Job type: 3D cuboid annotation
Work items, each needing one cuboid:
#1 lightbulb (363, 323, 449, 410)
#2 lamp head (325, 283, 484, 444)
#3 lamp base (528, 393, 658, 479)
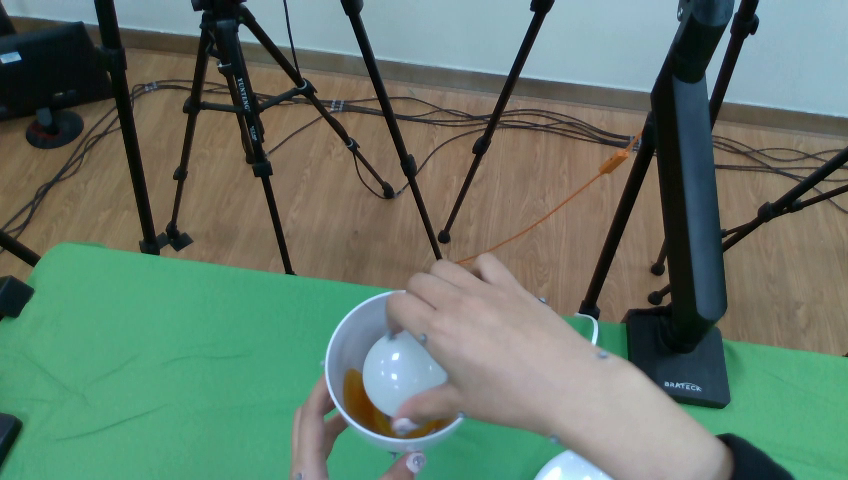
[{"bbox_3d":[-0.014,0.097,0.441,0.059,0.108,0.059,2,66,-4],"label":"lightbulb"},{"bbox_3d":[-0.010,0.107,0.469,0.112,0.124,0.111,-2,59,3],"label":"lamp head"},{"bbox_3d":[0.190,0.241,0.608,0.161,0.182,0.177,-4,53,-5],"label":"lamp base"}]
